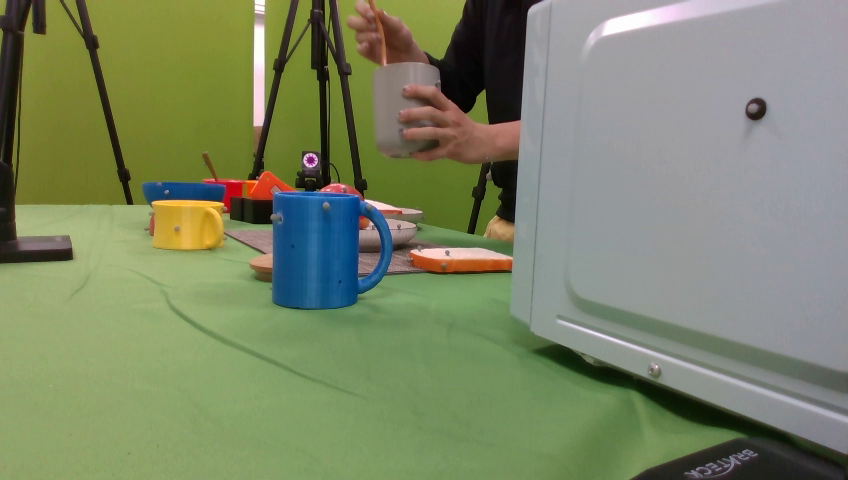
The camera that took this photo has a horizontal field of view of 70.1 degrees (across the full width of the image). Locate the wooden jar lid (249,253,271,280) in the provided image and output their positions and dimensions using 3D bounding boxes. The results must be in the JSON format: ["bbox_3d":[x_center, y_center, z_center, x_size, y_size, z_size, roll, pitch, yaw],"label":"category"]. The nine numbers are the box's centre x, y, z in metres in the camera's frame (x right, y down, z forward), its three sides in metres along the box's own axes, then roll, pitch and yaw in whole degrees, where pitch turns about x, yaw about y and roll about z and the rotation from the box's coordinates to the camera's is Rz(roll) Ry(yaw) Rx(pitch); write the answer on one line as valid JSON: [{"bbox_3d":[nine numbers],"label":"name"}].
[{"bbox_3d":[-0.148,0.028,0.708,0.108,0.020,0.108,-1,10,0],"label":"wooden jar lid"}]

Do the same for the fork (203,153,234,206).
[{"bbox_3d":[-0.480,-0.136,1.412,0.028,0.018,0.207,0,-34,-1],"label":"fork"}]

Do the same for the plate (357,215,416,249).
[{"bbox_3d":[-0.116,-0.014,0.967,0.208,0.039,0.207,2,7,0],"label":"plate"}]

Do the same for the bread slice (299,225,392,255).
[{"bbox_3d":[-0.119,-0.002,0.971,0.106,0.018,0.135,5,17,41],"label":"bread slice"}]

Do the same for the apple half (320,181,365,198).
[{"bbox_3d":[-0.130,-0.077,0.952,0.081,0.033,0.081,4,14,-1],"label":"apple half"}]

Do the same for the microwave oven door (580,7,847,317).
[{"bbox_3d":[0.295,-0.067,0.570,0.358,0.243,0.039,-3,9,-31],"label":"microwave oven door"}]

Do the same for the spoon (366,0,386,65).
[{"bbox_3d":[-0.069,-0.308,0.926,0.022,0.193,0.041,-13,7,-8],"label":"spoon"}]

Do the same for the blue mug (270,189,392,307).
[{"bbox_3d":[-0.089,0.005,0.588,0.117,0.106,0.082,1,7,-10],"label":"blue mug"}]

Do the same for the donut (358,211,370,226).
[{"bbox_3d":[-0.132,-0.042,0.959,0.099,0.048,0.099,3,7,0],"label":"donut"}]

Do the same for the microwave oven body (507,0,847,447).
[{"bbox_3d":[0.331,-0.042,0.425,0.444,0.260,0.324,-2,8,-31],"label":"microwave oven body"}]

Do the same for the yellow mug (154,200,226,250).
[{"bbox_3d":[-0.337,-0.023,0.899,0.130,0.064,0.100,8,9,34],"label":"yellow mug"}]

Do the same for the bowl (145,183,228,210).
[{"bbox_3d":[-0.459,-0.069,1.175,0.151,0.077,0.151,3,7,0],"label":"bowl"}]

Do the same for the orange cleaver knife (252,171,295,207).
[{"bbox_3d":[-0.283,-0.086,1.343,0.212,0.077,0.012,24,-16,-41],"label":"orange cleaver knife"}]

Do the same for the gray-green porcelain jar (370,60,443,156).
[{"bbox_3d":[-0.026,-0.196,0.919,0.106,0.126,0.106,-4,0,0],"label":"gray-green porcelain jar"}]

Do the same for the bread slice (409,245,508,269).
[{"bbox_3d":[0.048,0.021,0.816,0.132,0.019,0.104,0,7,-24],"label":"bread slice"}]

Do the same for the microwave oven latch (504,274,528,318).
[{"bbox_3d":[0.100,0.041,0.471,0.079,0.029,0.030,-1,7,-27],"label":"microwave oven latch"}]

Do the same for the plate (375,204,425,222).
[{"bbox_3d":[-0.102,-0.053,1.299,0.209,0.038,0.209,2,8,0],"label":"plate"}]

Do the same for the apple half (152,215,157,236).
[{"bbox_3d":[-0.415,-0.034,1.017,0.081,0.053,0.074,1,10,-9],"label":"apple half"}]
